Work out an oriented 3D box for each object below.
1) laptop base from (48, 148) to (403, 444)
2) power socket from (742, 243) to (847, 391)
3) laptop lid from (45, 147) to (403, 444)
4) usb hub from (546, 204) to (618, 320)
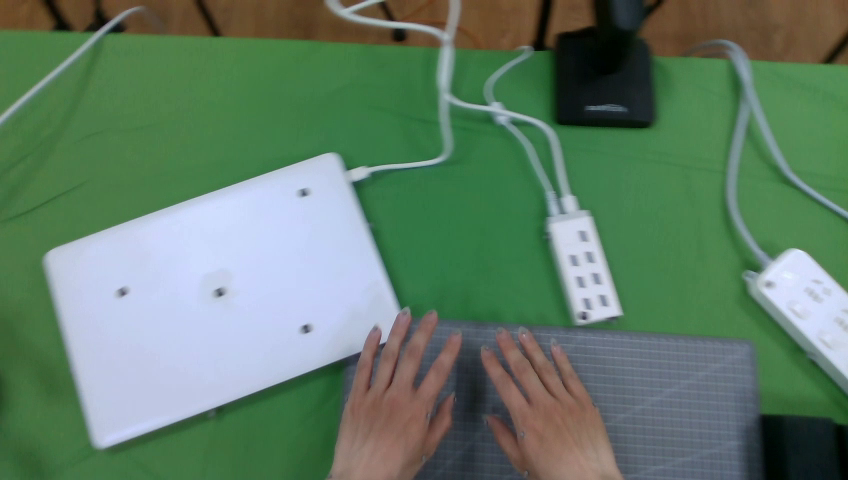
[{"bbox_3d":[-0.225,0.054,0.685,0.354,0.023,0.234,-20,79,-4],"label":"laptop base"},{"bbox_3d":[0.451,0.100,0.657,0.072,0.033,0.225,-38,78,-9],"label":"power socket"},{"bbox_3d":[-0.225,0.053,0.672,0.357,0.013,0.240,-19,78,-4],"label":"laptop lid"},{"bbox_3d":[0.177,0.025,0.684,0.049,0.025,0.124,-12,76,-2],"label":"usb hub"}]
